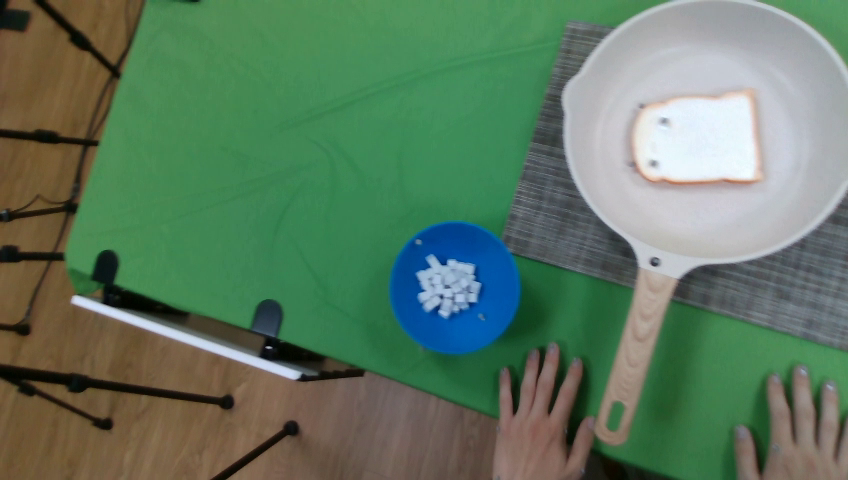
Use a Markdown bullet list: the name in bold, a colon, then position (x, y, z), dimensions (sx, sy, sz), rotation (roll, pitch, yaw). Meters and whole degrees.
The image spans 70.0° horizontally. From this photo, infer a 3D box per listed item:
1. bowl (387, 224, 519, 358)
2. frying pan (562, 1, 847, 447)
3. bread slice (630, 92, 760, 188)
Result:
- **bowl**: position (0.040, 0.062, 0.711), dimensions (0.151, 0.077, 0.151), rotation (-2, 81, 14)
- **frying pan**: position (0.265, -0.019, 0.648), dimensions (0.305, 0.103, 0.486), rotation (19, 78, 18)
- **bread slice**: position (0.307, -0.107, 0.692), dimensions (0.134, 0.018, 0.106), rotation (-5, 80, 12)
